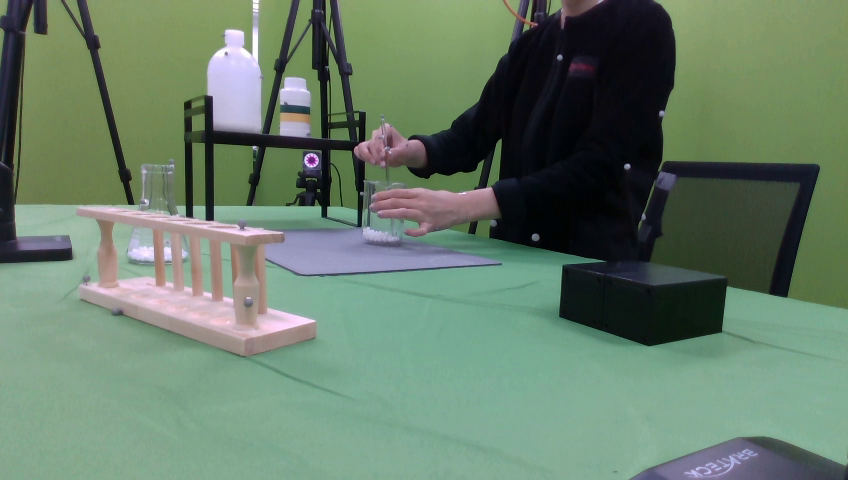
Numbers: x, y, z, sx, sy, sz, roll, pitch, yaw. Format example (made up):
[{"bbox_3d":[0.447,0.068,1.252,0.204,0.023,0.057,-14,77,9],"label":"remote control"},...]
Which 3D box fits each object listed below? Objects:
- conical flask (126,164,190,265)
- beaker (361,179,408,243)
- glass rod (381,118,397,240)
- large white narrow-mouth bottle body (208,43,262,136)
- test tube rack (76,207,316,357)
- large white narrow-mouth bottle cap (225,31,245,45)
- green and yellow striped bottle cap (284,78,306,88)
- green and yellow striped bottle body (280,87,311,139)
[{"bbox_3d":[-0.332,-0.033,0.756,0.075,0.122,0.075,2,7,0],"label":"conical flask"},{"bbox_3d":[-0.066,-0.047,0.992,0.074,0.100,0.084,3,8,-6],"label":"beaker"},{"bbox_3d":[-0.058,-0.098,0.984,0.008,0.199,0.008,-5,9,1],"label":"glass rod"},{"bbox_3d":[-0.369,-0.304,1.181,0.102,0.194,0.101,2,9,0],"label":"large white narrow-mouth bottle body"},{"bbox_3d":[-0.196,0.023,0.500,0.241,0.085,0.067,8,9,36],"label":"test tube rack"},{"bbox_3d":[-0.365,-0.388,1.166,0.038,0.024,0.037,2,9,0],"label":"large white narrow-mouth bottle cap"},{"bbox_3d":[-0.268,-0.325,1.259,0.045,0.020,0.045,5,7,0],"label":"green and yellow striped bottle cap"},{"bbox_3d":[-0.269,-0.274,1.266,0.063,0.119,0.063,3,7,0],"label":"green and yellow striped bottle body"}]
